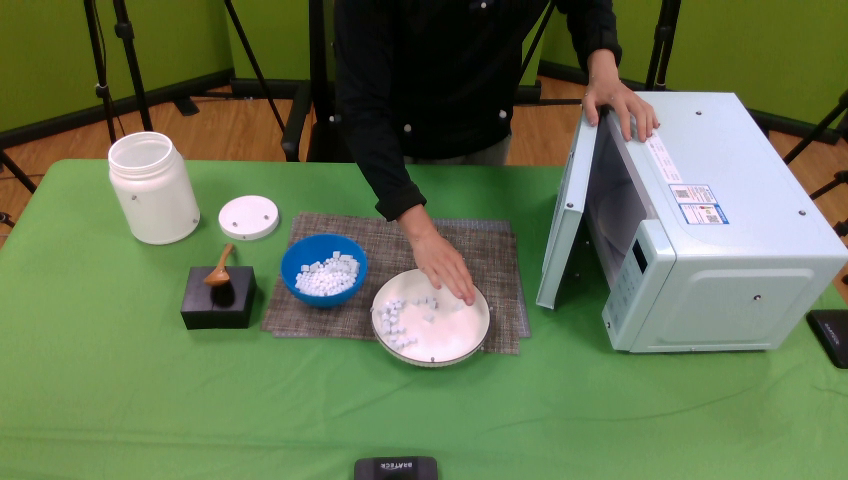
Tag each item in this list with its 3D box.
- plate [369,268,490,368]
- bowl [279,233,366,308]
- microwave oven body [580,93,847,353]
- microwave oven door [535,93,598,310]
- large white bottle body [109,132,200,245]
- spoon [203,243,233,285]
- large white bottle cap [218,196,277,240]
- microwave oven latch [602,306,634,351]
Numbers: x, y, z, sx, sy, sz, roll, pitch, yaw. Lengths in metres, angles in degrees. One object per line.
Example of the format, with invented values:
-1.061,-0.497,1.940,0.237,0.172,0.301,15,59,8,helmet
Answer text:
0.008,0.136,1.054,0.209,0.038,0.208,2,46,-2,plate
-0.178,0.068,1.077,0.151,0.077,0.150,3,46,-3,bowl
0.475,-0.041,1.109,0.326,0.261,0.438,-1,45,-4,microwave oven body
0.270,-0.081,1.125,0.039,0.245,0.354,14,46,9,microwave oven door
-0.506,-0.097,1.141,0.131,0.185,0.130,2,46,-2,large white bottle body
-0.360,0.039,1.087,0.041,0.022,0.192,-5,24,-7,spoon
-0.355,-0.045,1.220,0.115,0.018,0.114,2,46,-1,large white bottle cap
0.332,0.153,1.044,0.030,0.029,0.078,0,45,-3,microwave oven latch
